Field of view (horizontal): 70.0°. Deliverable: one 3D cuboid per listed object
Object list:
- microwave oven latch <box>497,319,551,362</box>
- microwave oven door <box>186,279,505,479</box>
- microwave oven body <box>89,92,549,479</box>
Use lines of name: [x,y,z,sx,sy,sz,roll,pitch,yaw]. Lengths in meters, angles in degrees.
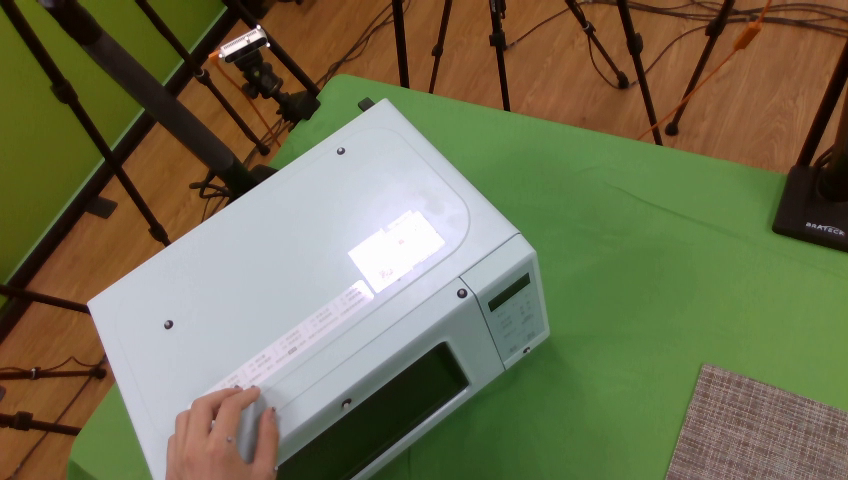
microwave oven latch: [0.129,0.125,0.794,0.079,0.030,0.030,-35,58,-5]
microwave oven door: [-0.072,0.203,0.684,0.356,0.246,0.039,-36,57,-7]
microwave oven body: [-0.117,0.087,0.769,0.441,0.263,0.322,-37,58,-6]
